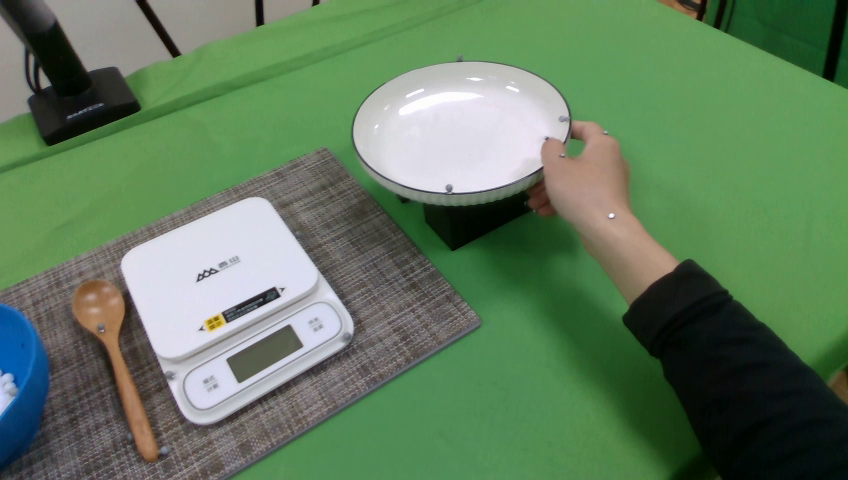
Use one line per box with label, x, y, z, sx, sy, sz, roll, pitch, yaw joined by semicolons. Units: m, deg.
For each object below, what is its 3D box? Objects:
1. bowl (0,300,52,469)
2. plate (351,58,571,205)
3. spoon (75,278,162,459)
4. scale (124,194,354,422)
bowl;-0.345;0.126;0.450;0.151;0.077;0.150;-3;48;3
plate;0.035;-0.104;0.582;0.209;0.038;0.207;-3;48;3
spoon;-0.252;0.100;0.502;0.042;0.022;0.191;-17;47;-29
scale;-0.167;0.048;0.534;0.149;0.032;0.198;-29;52;-18
